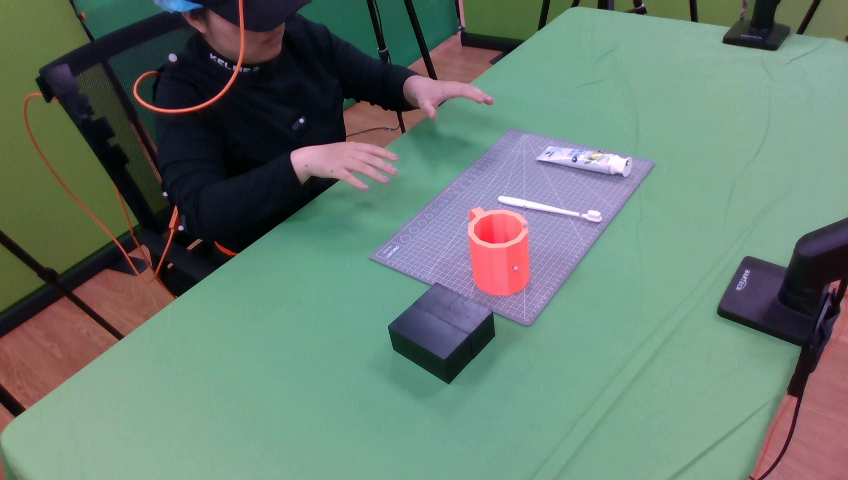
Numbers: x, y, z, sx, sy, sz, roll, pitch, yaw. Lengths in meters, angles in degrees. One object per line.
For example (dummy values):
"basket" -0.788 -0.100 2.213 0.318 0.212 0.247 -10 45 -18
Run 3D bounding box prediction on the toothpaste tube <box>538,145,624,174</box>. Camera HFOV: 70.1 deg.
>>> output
"toothpaste tube" 0.292 -0.148 1.097 0.164 0.034 0.055 17 41 34

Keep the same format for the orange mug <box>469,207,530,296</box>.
"orange mug" 0.104 0.008 0.893 0.084 0.101 0.125 -22 46 -14

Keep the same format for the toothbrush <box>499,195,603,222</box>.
"toothbrush" 0.209 -0.055 1.010 0.180 0.017 0.014 14 62 27

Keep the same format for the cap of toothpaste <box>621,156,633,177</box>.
"cap of toothpaste" 0.352 -0.128 1.051 0.011 0.037 0.037 17 47 34
